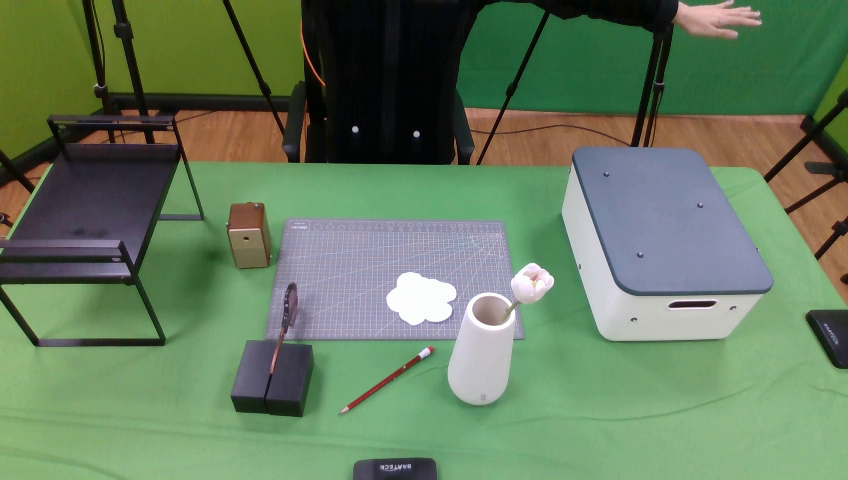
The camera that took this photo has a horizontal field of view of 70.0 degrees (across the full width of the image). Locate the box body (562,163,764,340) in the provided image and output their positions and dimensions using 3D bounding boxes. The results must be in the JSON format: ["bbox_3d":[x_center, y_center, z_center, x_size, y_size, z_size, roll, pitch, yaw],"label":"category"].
[{"bbox_3d":[0.420,0.003,1.129,0.254,0.161,0.361,-1,46,-5],"label":"box body"}]

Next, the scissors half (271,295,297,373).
[{"bbox_3d":[-0.230,0.154,1.000,0.013,0.040,0.174,0,34,2],"label":"scissors half"}]

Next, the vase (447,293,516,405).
[{"bbox_3d":[0.091,0.169,0.921,0.098,0.201,0.097,3,47,-3],"label":"vase"}]

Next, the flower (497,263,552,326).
[{"bbox_3d":[0.103,0.121,0.853,0.044,0.363,0.038,-1,64,-10],"label":"flower"}]

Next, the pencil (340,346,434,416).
[{"bbox_3d":[-0.058,0.228,0.984,0.194,0.012,0.012,-32,56,-28],"label":"pencil"}]

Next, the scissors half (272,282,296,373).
[{"bbox_3d":[-0.229,0.139,0.986,0.013,0.040,0.174,3,51,-2],"label":"scissors half"}]

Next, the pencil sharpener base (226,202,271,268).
[{"bbox_3d":[-0.323,-0.010,1.123,0.061,0.107,0.076,-3,46,-7],"label":"pencil sharpener base"}]

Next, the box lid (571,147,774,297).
[{"bbox_3d":[0.424,-0.047,1.074,0.263,0.015,0.369,-1,47,-5],"label":"box lid"}]

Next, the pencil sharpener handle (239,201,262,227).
[{"bbox_3d":[-0.325,-0.056,1.149,0.036,0.068,0.030,-13,46,4],"label":"pencil sharpener handle"}]
